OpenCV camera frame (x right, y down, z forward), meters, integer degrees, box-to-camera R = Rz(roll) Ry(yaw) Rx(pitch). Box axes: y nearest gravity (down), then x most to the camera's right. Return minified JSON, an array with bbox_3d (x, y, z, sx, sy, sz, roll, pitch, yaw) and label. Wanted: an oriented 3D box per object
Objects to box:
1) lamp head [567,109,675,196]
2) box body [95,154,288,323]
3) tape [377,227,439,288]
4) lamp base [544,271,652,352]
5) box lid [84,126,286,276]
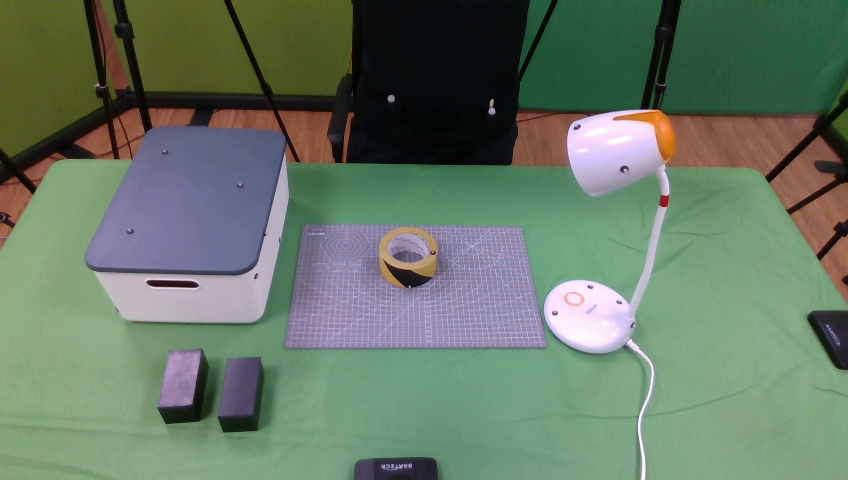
[{"bbox_3d":[0.272,-0.123,0.818,0.122,0.113,0.112,-9,35,37],"label":"lamp head"},{"bbox_3d":[-0.396,-0.031,1.100,0.254,0.161,0.361,1,46,-3],"label":"box body"},{"bbox_3d":[-0.031,0.032,1.140,0.117,0.053,0.116,2,46,-2],"label":"tape"},{"bbox_3d":[0.309,0.086,1.029,0.178,0.181,0.160,32,52,21],"label":"lamp base"},{"bbox_3d":[-0.393,-0.081,1.046,0.263,0.015,0.369,2,46,-3],"label":"box lid"}]
